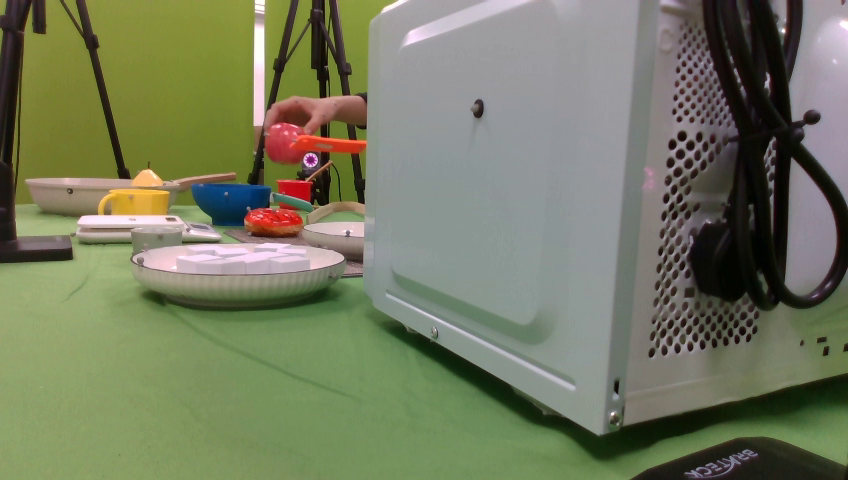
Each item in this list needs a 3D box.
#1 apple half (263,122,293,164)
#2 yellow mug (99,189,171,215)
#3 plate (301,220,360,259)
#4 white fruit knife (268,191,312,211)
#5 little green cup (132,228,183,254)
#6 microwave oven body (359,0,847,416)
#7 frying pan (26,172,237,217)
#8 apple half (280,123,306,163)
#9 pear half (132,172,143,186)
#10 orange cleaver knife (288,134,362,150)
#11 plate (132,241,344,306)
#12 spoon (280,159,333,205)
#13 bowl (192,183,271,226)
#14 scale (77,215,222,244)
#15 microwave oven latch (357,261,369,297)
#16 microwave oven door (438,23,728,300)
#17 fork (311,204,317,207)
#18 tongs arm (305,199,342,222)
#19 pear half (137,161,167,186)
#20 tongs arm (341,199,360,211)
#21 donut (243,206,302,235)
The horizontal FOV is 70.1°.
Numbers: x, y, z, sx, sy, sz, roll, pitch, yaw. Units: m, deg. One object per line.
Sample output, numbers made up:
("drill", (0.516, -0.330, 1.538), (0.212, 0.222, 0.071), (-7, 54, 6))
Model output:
("apple half", (-0.276, -0.183, 1.150), (0.053, 0.074, 0.081), (2, 0, 18))
("yellow mug", (-0.518, -0.055, 1.080), (0.099, 0.064, 0.131), (7, 9, 26))
("plate", (-0.077, -0.002, 0.893), (0.209, 0.038, 0.209), (3, 8, 0))
("white fruit knife", (-0.364, -0.105, 1.464), (0.208, 0.027, 0.016), (15, 0, -34))
("little green cup", (-0.342, 0.006, 0.779), (0.061, 0.038, 0.061), (2, 8, 0))
("microwave oven body", (0.211, -0.047, 0.474), (0.444, 0.260, 0.324), (-1, 7, -28))
("frying pan", (-0.624, -0.118, 1.387), (0.305, 0.102, 0.490), (8, 17, 32))
("apple half", (-0.239, -0.182, 1.139), (0.032, 0.081, 0.081), (0, 7, 19))
("pear half", (-0.638, -0.113, 1.361), (0.031, 0.088, 0.070), (5, 10, 4))
("orange cleaver knife", (-0.136, -0.174, 1.089), (0.212, 0.012, 0.077), (-1, -8, -16))
("plate", (-0.187, 0.033, 0.625), (0.208, 0.039, 0.207), (2, 8, 0))
("spoon", (-0.316, -0.159, 1.640), (0.194, 0.022, 0.041), (-50, 32, -20))
("bowl", (-0.382, -0.071, 1.202), (0.151, 0.077, 0.151), (3, 7, 0))
("scale", (-0.434, -0.019, 0.963), (0.202, 0.031, 0.148), (-1, 8, -27))
("microwave oven latch", (-0.019, 0.033, 0.530), (0.079, 0.029, 0.030), (-1, 7, -26))
("microwave oven door", (0.181, -0.073, 0.621), (0.358, 0.243, 0.039), (-2, 8, -29))
("fork", (-0.356, -0.105, 1.526), (0.208, 0.018, 0.028), (16, -6, -41))
("tongs arm", (-0.234, -0.072, 1.414), (0.028, 0.028, 0.387), (-3, 7, 1))
("pear half", (-0.602, -0.120, 1.354), (0.056, 0.110, 0.076), (4, 11, 6))
("tongs arm", (-0.148, -0.071, 1.429), (0.051, 0.026, 0.383), (-2, 8, -14))
("donut", (-0.261, -0.032, 1.043), (0.099, 0.048, 0.099), (4, 9, 0))
